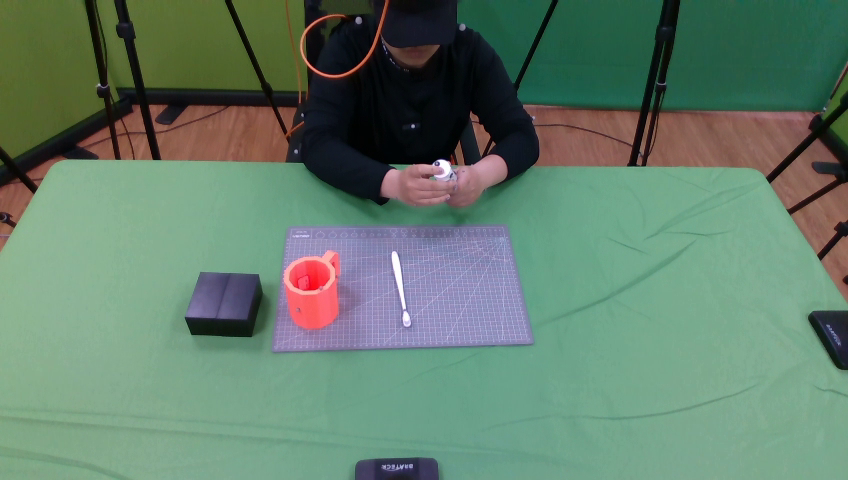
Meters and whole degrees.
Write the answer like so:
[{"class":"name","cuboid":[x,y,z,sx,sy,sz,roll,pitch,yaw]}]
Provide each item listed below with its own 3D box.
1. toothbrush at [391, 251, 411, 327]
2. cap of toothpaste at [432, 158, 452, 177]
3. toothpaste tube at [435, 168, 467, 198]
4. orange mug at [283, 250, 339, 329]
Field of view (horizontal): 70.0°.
[{"class":"toothbrush","cuboid":[-0.044,0.085,1.113,0.014,0.017,0.180,-13,46,0]},{"class":"cap of toothpaste","cuboid":[0.033,-0.131,1.103,0.037,0.011,0.037,-1,79,6]},{"class":"toothpaste tube","cuboid":[0.050,-0.113,1.179,0.055,0.165,0.034,-8,77,8]},{"class":"orange mug","cuboid":[-0.186,0.079,1.052,0.083,0.101,0.126,20,52,15]}]
